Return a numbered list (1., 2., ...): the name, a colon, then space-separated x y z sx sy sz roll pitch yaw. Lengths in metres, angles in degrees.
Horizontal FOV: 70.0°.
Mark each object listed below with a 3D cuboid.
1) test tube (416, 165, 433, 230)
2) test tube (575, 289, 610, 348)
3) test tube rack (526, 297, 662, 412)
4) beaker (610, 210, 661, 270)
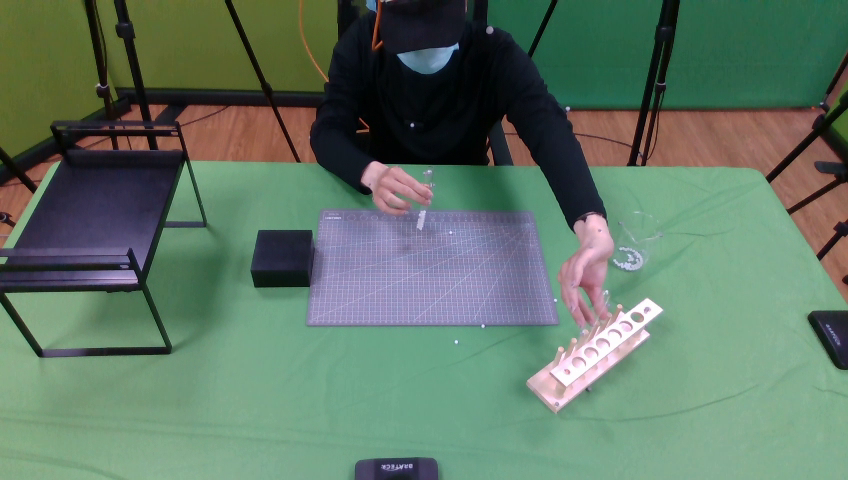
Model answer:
1. test tube: 0.000 -0.077 1.134 0.017 0.151 0.017 6 42 -5
2. test tube: 0.265 0.127 0.959 0.017 0.151 0.017 3 47 -3
3. test tube rack: 0.284 0.176 1.007 0.242 0.085 0.066 -29 54 -27
4. beaker: 0.404 0.005 1.169 0.074 0.101 0.083 19 49 15
